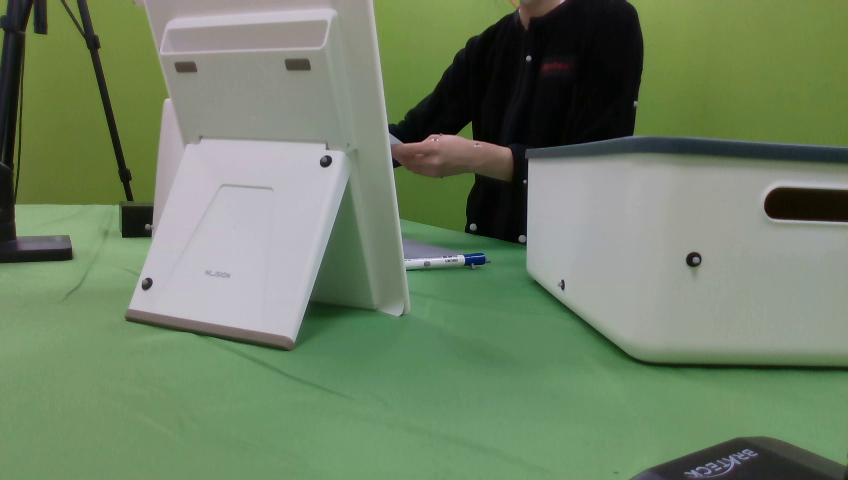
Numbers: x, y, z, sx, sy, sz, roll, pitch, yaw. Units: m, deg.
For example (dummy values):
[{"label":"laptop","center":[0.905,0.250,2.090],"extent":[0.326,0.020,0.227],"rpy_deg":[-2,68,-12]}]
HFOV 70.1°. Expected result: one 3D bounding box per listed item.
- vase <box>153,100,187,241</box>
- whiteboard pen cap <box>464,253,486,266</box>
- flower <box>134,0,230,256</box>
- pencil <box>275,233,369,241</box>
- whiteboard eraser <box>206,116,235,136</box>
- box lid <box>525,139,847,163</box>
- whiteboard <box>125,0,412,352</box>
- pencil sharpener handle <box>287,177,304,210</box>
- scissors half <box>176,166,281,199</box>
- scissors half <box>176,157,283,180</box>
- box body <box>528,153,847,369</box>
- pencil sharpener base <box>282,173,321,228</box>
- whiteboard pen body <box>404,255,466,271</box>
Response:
[{"label":"vase","center":[-0.278,-0.066,0.736],"extent":[0.098,0.200,0.098],"rpy_deg":[2,9,0]},{"label":"whiteboard pen cap","center":[0.066,0.027,0.817],"extent":[0.033,0.018,0.018],"rpy_deg":[-6,10,-23]},{"label":"flower","center":[-0.282,-0.147,0.713],"extent":[0.038,0.362,0.044],"rpy_deg":[-23,24,-31]},{"label":"pencil","center":[-0.169,-0.006,1.036],"extent":[0.195,0.012,0.012],"rpy_deg":[-2,9,-45]},{"label":"whiteboard eraser","center":[-0.450,-0.252,1.335],"extent":[0.056,0.042,0.112],"rpy_deg":[1,7,-22]},{"label":"box lid","center":[0.261,-0.078,0.580],"extent":[0.264,0.015,0.371],"rpy_deg":[2,7,-4]},{"label":"whiteboard","center":[-0.151,-0.049,0.472],"extent":[0.216,0.305,0.144],"rpy_deg":[6,27,24]},{"label":"pencil sharpener handle","center":[-0.269,-0.096,1.257],"extent":[0.036,0.067,0.030],"rpy_deg":[-9,8,-27]},{"label":"scissors half","center":[-0.335,-0.104,1.043],"extent":[0.176,0.040,0.012],"rpy_deg":[15,19,-16]},{"label":"scissors half","center":[-0.331,-0.122,1.036],"extent":[0.176,0.040,0.013],"rpy_deg":[-2,18,-10]},{"label":"box body","center":[0.258,-0.005,0.591],"extent":[0.254,0.160,0.363],"rpy_deg":[2,7,-4]},{"label":"pencil sharpener base","center":[-0.247,-0.080,1.212],"extent":[0.061,0.107,0.076],"rpy_deg":[-2,5,-28]},{"label":"whiteboard pen body","center":[0.012,0.030,0.792],"extent":[0.141,0.017,0.017],"rpy_deg":[-2,9,-24]}]
